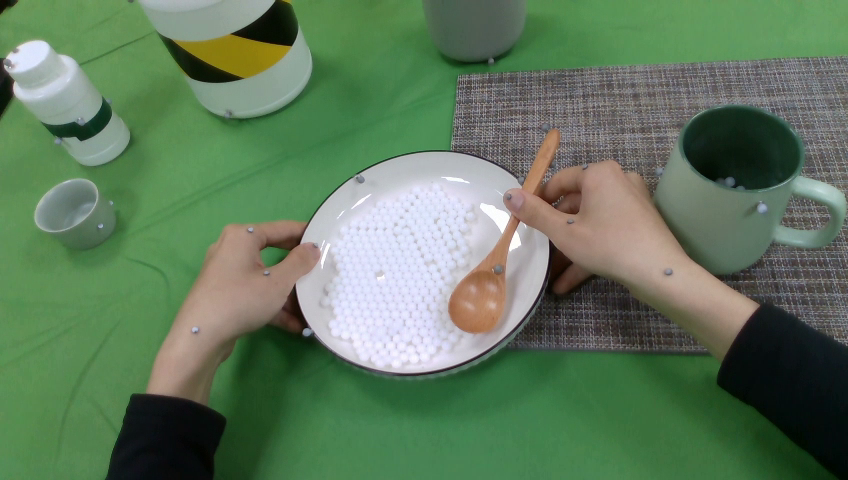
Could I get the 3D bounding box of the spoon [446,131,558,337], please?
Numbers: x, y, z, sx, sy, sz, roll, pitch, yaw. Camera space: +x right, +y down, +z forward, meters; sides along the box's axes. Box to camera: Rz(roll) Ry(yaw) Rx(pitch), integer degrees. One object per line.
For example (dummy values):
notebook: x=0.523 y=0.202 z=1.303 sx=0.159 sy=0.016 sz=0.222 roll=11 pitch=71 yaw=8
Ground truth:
spoon: x=0.070 y=-0.011 z=0.476 sx=0.041 sy=0.022 sz=0.193 roll=24 pitch=73 yaw=10

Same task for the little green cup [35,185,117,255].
little green cup: x=-0.325 y=-0.017 z=0.572 sx=0.061 sy=0.039 sz=0.061 roll=-5 pitch=55 yaw=7

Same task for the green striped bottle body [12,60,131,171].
green striped bottle body: x=-0.352 y=-0.128 z=0.599 sx=0.063 sy=0.120 sz=0.062 roll=-5 pitch=56 yaw=7

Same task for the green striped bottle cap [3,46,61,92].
green striped bottle cap: x=-0.360 y=-0.157 z=0.556 sx=0.044 sy=0.020 sz=0.044 roll=-2 pitch=59 yaw=4

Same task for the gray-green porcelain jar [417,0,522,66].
gray-green porcelain jar: x=0.045 y=-0.250 z=0.607 sx=0.106 sy=0.128 sz=0.105 roll=-4 pitch=57 yaw=7

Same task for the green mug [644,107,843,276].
green mug: x=0.231 y=-0.028 z=0.441 sx=0.124 sy=0.106 sz=0.092 roll=20 pitch=62 yaw=21

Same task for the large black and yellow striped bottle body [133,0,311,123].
large black and yellow striped bottle body: x=-0.199 y=-0.221 z=0.594 sx=0.130 sy=0.186 sz=0.129 roll=-4 pitch=57 yaw=7

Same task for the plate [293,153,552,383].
plate: x=-0.001 y=0.020 z=0.491 sx=0.209 sy=0.038 sz=0.207 roll=-6 pitch=56 yaw=9
